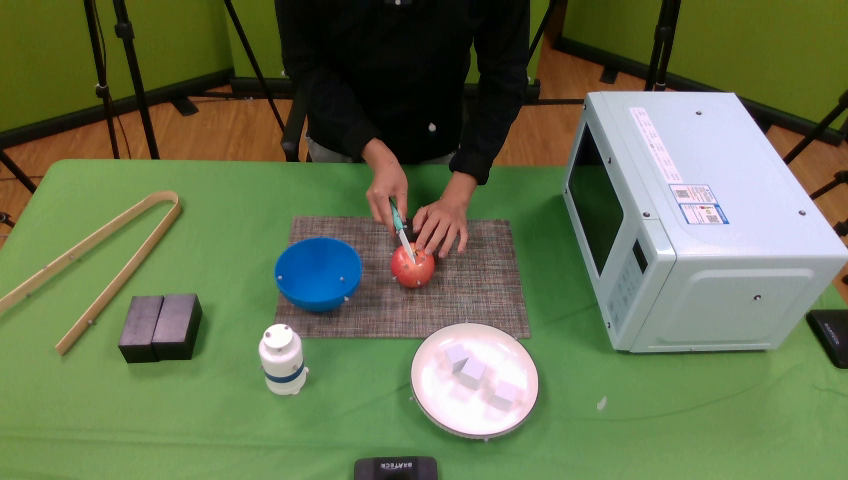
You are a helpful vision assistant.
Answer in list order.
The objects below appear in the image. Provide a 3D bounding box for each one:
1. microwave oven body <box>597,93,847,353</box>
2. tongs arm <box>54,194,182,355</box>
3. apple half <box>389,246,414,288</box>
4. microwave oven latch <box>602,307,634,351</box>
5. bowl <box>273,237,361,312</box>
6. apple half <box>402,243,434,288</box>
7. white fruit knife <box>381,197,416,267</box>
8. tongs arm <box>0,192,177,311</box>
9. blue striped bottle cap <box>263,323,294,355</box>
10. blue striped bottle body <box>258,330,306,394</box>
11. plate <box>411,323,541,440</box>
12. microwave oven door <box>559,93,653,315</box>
[{"bbox_3d":[0.475,-0.041,1.109,0.326,0.261,0.438,-1,45,-4],"label":"microwave oven body"},{"bbox_3d":[-0.543,0.048,1.107,0.028,0.028,0.385,11,46,10],"label":"tongs arm"},{"bbox_3d":[-0.046,0.054,1.104,0.033,0.081,0.080,-9,47,-19],"label":"apple half"},{"bbox_3d":[0.332,0.153,1.044,0.030,0.029,0.078,-1,45,-4],"label":"microwave oven latch"},{"bbox_3d":[-0.186,0.075,1.069,0.151,0.077,0.150,3,46,-3],"label":"bowl"},{"bbox_3d":[-0.010,0.046,1.116,0.053,0.075,0.080,-9,44,-19],"label":"apple half"},{"bbox_3d":[-0.046,-0.019,1.113,0.016,0.027,0.206,-3,40,-21],"label":"white fruit knife"},{"bbox_3d":[-0.618,0.019,1.124,0.050,0.026,0.384,24,47,16],"label":"tongs arm"},{"bbox_3d":[-0.217,0.146,0.900,0.044,0.021,0.044,1,46,-1],"label":"blue striped bottle cap"},{"bbox_3d":[-0.220,0.182,0.937,0.063,0.121,0.062,2,45,-2],"label":"blue striped bottle body"},{"bbox_3d":[0.082,0.228,0.976,0.208,0.039,0.206,2,45,-2],"label":"plate"},{"bbox_3d":[0.327,-0.074,1.123,0.039,0.245,0.353,-1,46,-5],"label":"microwave oven door"}]
